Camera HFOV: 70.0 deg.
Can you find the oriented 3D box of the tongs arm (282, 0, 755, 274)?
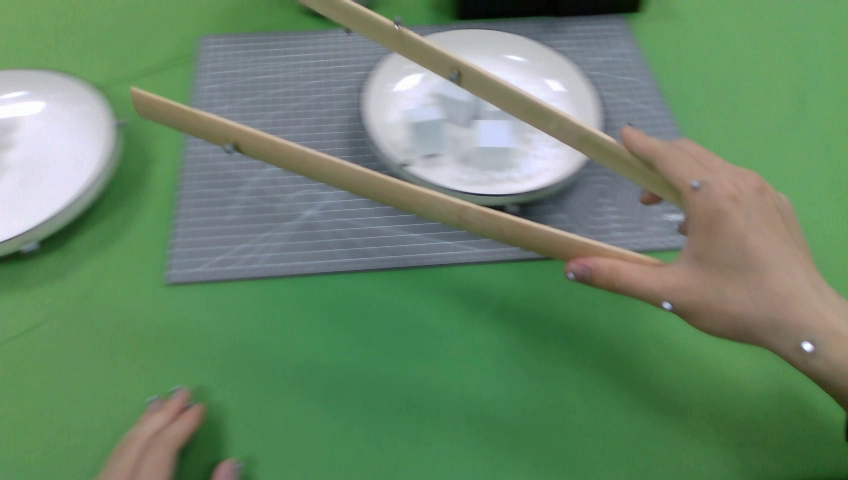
[{"bbox_3d":[0.037,-0.088,0.406,0.383,0.027,0.050,28,59,9],"label":"tongs arm"}]

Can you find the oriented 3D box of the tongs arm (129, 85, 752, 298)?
[{"bbox_3d":[0.003,-0.030,0.368,0.387,0.028,0.028,18,54,3],"label":"tongs arm"}]

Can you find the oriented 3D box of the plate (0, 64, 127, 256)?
[{"bbox_3d":[-0.354,-0.065,0.508,0.208,0.039,0.205,1,56,0],"label":"plate"}]

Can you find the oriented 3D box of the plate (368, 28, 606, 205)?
[{"bbox_3d":[0.054,-0.110,0.542,0.209,0.038,0.207,0,56,0],"label":"plate"}]

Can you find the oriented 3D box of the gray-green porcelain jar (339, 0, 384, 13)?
[{"bbox_3d":[-0.086,-0.307,0.623,0.106,0.127,0.105,0,55,0],"label":"gray-green porcelain jar"}]
